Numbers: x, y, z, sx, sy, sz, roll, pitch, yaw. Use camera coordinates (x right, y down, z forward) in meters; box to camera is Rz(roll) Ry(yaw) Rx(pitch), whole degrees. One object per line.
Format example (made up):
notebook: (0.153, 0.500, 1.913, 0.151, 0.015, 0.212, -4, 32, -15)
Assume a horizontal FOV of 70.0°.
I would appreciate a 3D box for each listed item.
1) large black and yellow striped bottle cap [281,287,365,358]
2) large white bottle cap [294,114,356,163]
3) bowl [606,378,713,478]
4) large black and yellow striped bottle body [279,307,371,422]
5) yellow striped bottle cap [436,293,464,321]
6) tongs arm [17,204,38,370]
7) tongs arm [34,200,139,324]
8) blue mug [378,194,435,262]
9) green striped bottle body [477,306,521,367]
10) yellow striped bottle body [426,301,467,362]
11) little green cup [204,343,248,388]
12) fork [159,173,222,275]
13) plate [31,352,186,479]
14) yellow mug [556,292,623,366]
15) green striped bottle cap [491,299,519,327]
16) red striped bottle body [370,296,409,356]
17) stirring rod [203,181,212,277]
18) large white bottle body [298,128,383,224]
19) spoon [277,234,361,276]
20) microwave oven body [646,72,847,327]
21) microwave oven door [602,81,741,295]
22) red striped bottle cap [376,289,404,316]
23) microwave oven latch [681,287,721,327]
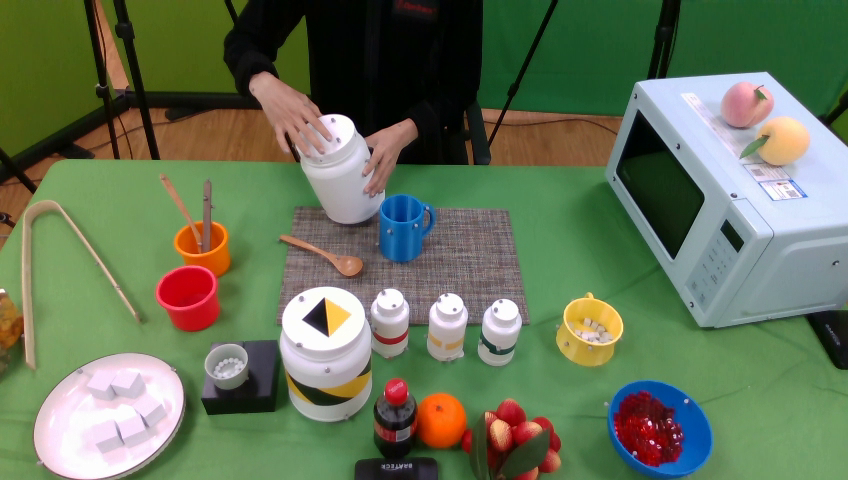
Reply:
large black and yellow striped bottle cap: (-0.141, 0.112, 0.847, 0.115, 0.019, 0.114, 5, 45, -4)
large white bottle cap: (-0.182, -0.187, 1.111, 0.115, 0.018, 0.114, -8, 50, 10)
bowl: (0.340, 0.292, 0.906, 0.151, 0.077, 0.150, 2, 46, -2)
large black and yellow striped bottle body: (-0.145, 0.173, 0.907, 0.131, 0.185, 0.130, 2, 46, -2)
yellow striped bottle cap: (0.041, 0.106, 0.959, 0.044, 0.019, 0.044, -1, 50, 1)
tongs arm: (-0.698, 0.070, 1.069, 0.028, 0.028, 0.385, -21, 51, -13)
tongs arm: (-0.622, 0.034, 1.105, 0.051, 0.026, 0.382, -32, 56, -26)
blue mug: (-0.032, -0.027, 1.160, 0.116, 0.106, 0.082, -19, 51, -21)
green striped bottle body: (0.124, 0.151, 0.995, 0.063, 0.120, 0.063, 2, 46, -2)
yellow striped bottle body: (0.037, 0.142, 0.996, 0.063, 0.121, 0.062, 2, 46, -2)
little green cup: (-0.294, 0.190, 0.909, 0.061, 0.039, 0.061, 1, 48, -1)
fork: (-0.427, -0.029, 1.103, 0.028, 0.018, 0.207, -31, 99, -30)
plate: (-0.459, 0.262, 0.898, 0.209, 0.038, 0.208, 2, 46, -2)
yellow mug: (0.285, 0.145, 1.051, 0.100, 0.064, 0.130, 7, 45, 3)
green striped bottle cap: (0.128, 0.115, 0.958, 0.044, 0.020, 0.044, 1, 47, -1)
red striped bottle body: (-0.058, 0.134, 0.997, 0.063, 0.120, 0.062, 4, 47, -4)
stirring rod: (-0.396, -0.021, 1.108, 0.014, 0.006, 0.176, -1, 89, -1)
large white bottle body: (-0.164, -0.134, 1.179, 0.130, 0.186, 0.130, -8, 51, 10)
spoon: (-0.202, 0.023, 1.155, 0.193, 0.022, 0.041, 23, 70, 17)
microwave oven body: (0.607, -0.089, 1.164, 0.326, 0.261, 0.438, -7, 46, -10)
microwave oven door: (0.456, -0.107, 1.162, 0.039, 0.245, 0.353, -7, 47, -11)
red striped bottle cap: (-0.054, 0.098, 0.958, 0.044, 0.018, 0.044, 0, 48, 1)
microwave oven latch: (0.494, 0.119, 1.087, 0.030, 0.029, 0.078, -6, 46, -9)
